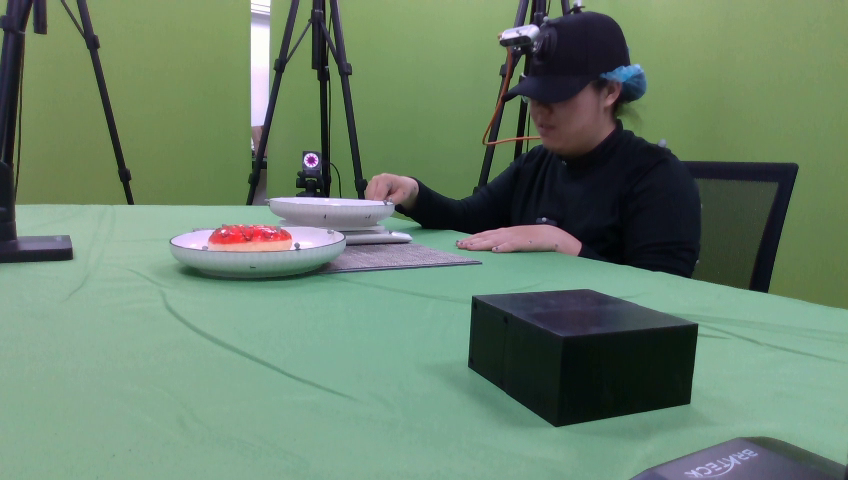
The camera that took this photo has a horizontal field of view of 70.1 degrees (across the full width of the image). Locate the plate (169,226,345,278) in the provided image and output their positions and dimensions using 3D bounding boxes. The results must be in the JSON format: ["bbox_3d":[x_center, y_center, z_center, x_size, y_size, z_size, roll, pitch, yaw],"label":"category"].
[{"bbox_3d":[-0.202,0.014,0.748,0.209,0.038,0.209,1,9,0],"label":"plate"}]

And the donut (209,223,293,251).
[{"bbox_3d":[-0.210,0.004,0.738,0.099,0.048,0.099,0,8,0],"label":"donut"}]

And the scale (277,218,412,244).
[{"bbox_3d":[-0.135,-0.015,1.015,0.202,0.031,0.148,-1,9,-33],"label":"scale"}]

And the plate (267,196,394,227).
[{"bbox_3d":[-0.153,-0.047,0.998,0.208,0.039,0.207,2,7,0],"label":"plate"}]
